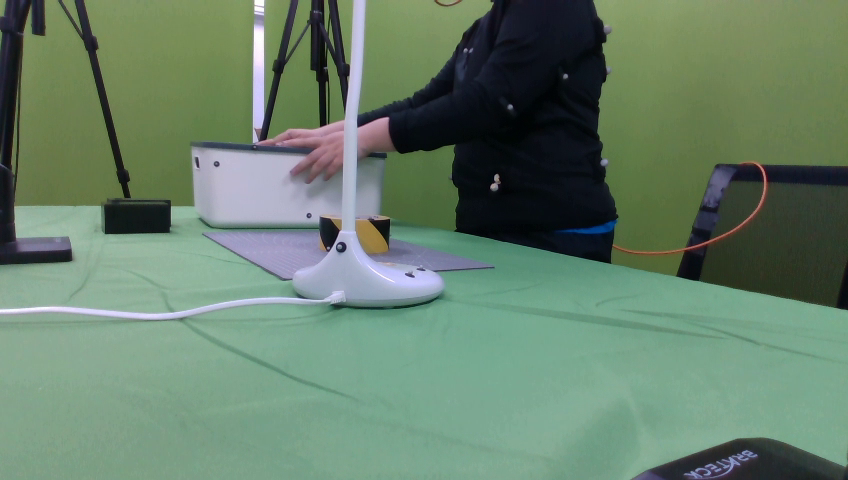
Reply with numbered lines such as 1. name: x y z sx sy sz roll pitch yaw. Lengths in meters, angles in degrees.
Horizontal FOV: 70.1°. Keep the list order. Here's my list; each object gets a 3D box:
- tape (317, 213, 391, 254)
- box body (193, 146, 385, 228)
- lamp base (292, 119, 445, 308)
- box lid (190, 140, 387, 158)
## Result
1. tape: -0.109 -0.012 0.938 0.117 0.052 0.117 2 7 0
2. box body: -0.291 -0.117 1.288 0.366 0.160 0.253 -1 8 -27
3. lamp base: -0.056 -0.030 0.616 0.160 0.180 0.179 4 10 8
4. box lid: -0.290 -0.190 1.278 0.373 0.015 0.262 0 8 -27
